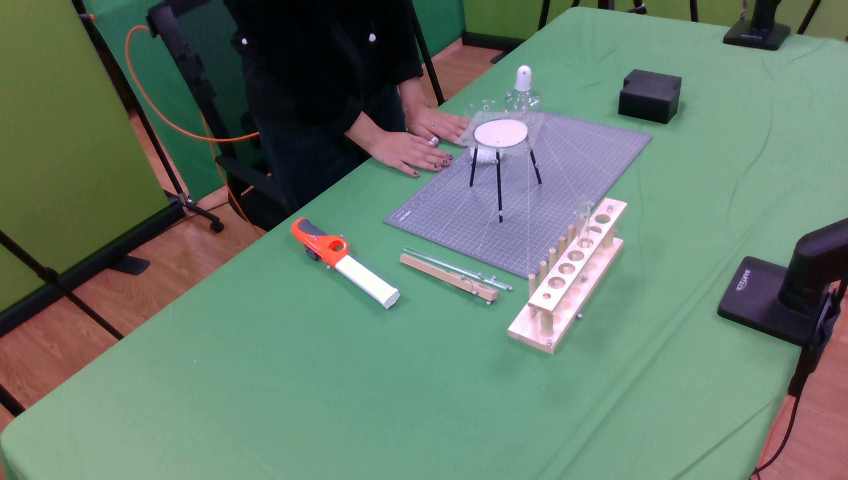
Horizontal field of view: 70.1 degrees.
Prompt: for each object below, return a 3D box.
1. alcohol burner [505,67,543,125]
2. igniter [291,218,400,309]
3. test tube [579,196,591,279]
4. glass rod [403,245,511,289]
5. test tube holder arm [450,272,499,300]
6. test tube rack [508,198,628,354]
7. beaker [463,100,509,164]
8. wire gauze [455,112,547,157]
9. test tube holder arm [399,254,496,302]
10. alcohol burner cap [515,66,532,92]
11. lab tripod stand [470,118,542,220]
[{"bbox_3d":[0.201,-0.293,1.216,0.078,0.119,0.077,-4,41,4],"label":"alcohol burner"},{"bbox_3d":[-0.136,0.031,0.970,0.057,0.025,0.274,-41,49,-19],"label":"igniter"},{"bbox_3d":[0.217,0.000,0.816,0.017,0.151,0.017,-7,44,8],"label":"test tube"},{"bbox_3d":[0.047,0.039,0.939,0.198,0.008,0.008,21,49,30],"label":"glass rod"},{"bbox_3d":[0.071,0.068,0.895,0.087,0.015,0.010,21,16,32],"label":"test tube holder arm"},{"bbox_3d":[0.206,0.039,0.850,0.066,0.085,0.243,20,48,31],"label":"test tube rack"},{"bbox_3d":[0.120,-0.200,1.134,0.083,0.101,0.074,5,43,16],"label":"beaker"},{"bbox_3d":[0.124,-0.176,0.973,0.124,0.011,0.121,10,42,22],"label":"wire gauze"},{"bbox_3d":[0.032,0.054,0.914,0.177,0.015,0.013,21,15,32],"label":"test tube holder arm"},{"bbox_3d":[0.198,-0.320,1.192,0.034,0.048,0.033,0,47,1],"label":"alcohol burner cap"},{"bbox_3d":[0.135,-0.128,1.019,0.148,0.132,0.147,-5,38,5],"label":"lab tripod stand"}]
